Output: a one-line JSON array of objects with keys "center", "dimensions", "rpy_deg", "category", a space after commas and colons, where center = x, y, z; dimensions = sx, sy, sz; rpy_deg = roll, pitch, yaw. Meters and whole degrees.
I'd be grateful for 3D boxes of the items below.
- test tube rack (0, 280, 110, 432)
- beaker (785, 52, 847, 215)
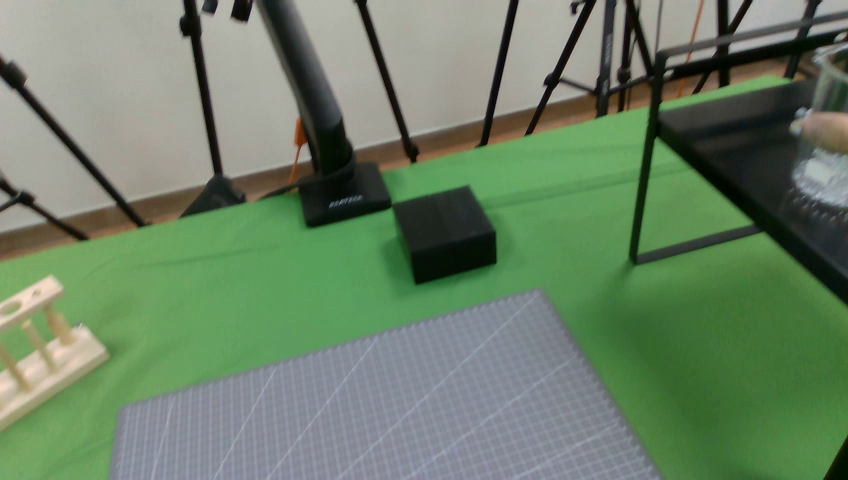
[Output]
[{"center": [-0.449, 0.148, 0.585], "dimensions": [0.066, 0.086, 0.242], "rpy_deg": [26, 49, 35], "category": "test tube rack"}, {"center": [0.309, -0.076, 0.438], "dimensions": [0.074, 0.101, 0.083], "rpy_deg": [-31, 43, -27], "category": "beaker"}]
